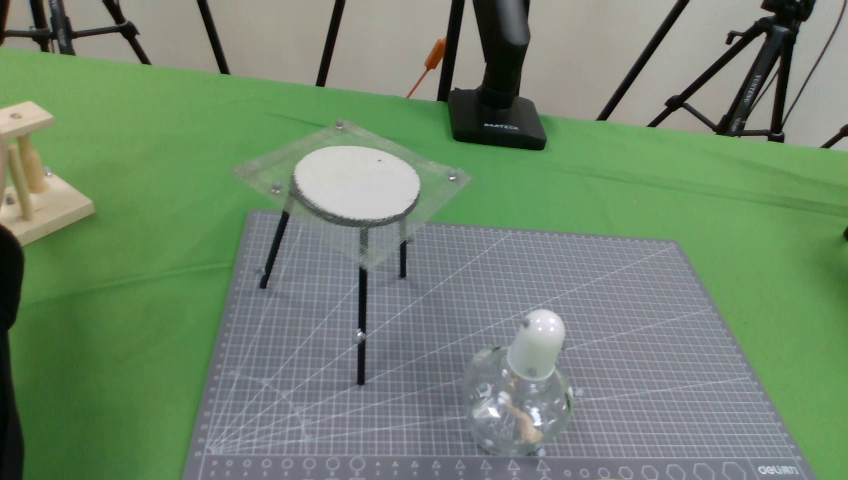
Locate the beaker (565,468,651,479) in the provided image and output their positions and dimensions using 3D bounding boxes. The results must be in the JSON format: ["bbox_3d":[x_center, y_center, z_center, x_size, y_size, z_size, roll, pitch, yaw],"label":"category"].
[{"bbox_3d":[0.073,0.159,0.249,0.074,0.101,0.083,19,35,13],"label":"beaker"}]

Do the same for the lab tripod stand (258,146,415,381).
[{"bbox_3d":[-0.057,0.010,0.458,0.149,0.132,0.147,8,40,-7],"label":"lab tripod stand"}]

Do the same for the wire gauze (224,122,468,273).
[{"bbox_3d":[-0.049,-0.040,0.415,0.124,0.011,0.121,30,44,20],"label":"wire gauze"}]

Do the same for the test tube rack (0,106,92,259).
[{"bbox_3d":[-0.386,-0.012,0.447,0.066,0.086,0.242,30,43,20],"label":"test tube rack"}]

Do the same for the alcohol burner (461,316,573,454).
[{"bbox_3d":[0.067,0.091,0.409,0.078,0.120,0.077,8,39,-6],"label":"alcohol burner"}]

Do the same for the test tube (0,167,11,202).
[{"bbox_3d":[-0.354,-0.091,0.472,0.017,0.151,0.017,5,40,-4],"label":"test tube"}]

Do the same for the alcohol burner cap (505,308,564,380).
[{"bbox_3d":[0.072,0.064,0.385,0.034,0.048,0.033,5,45,-4],"label":"alcohol burner cap"}]
